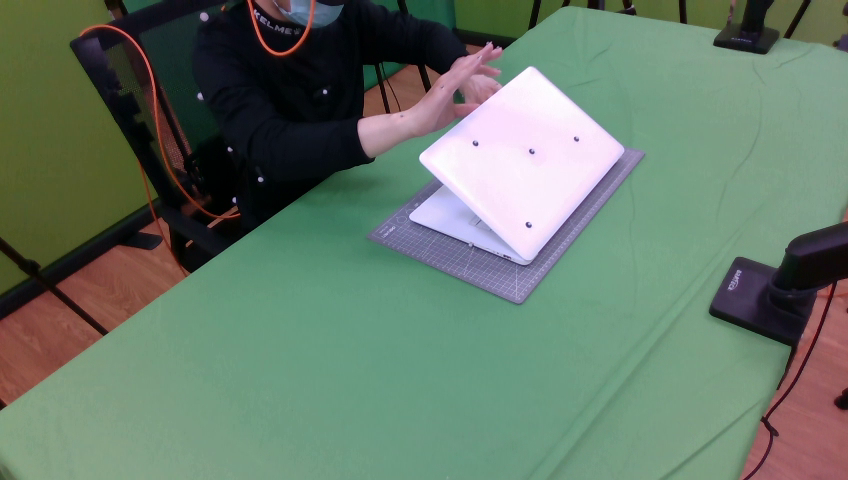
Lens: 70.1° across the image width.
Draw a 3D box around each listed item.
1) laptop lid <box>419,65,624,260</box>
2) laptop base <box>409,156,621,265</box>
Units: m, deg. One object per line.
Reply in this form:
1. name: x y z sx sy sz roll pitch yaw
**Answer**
1. laptop lid: 0.176 -0.146 0.997 0.241 0.013 0.358 45 55 4
2. laptop base: 0.168 -0.095 1.056 0.233 0.023 0.355 20 47 32
